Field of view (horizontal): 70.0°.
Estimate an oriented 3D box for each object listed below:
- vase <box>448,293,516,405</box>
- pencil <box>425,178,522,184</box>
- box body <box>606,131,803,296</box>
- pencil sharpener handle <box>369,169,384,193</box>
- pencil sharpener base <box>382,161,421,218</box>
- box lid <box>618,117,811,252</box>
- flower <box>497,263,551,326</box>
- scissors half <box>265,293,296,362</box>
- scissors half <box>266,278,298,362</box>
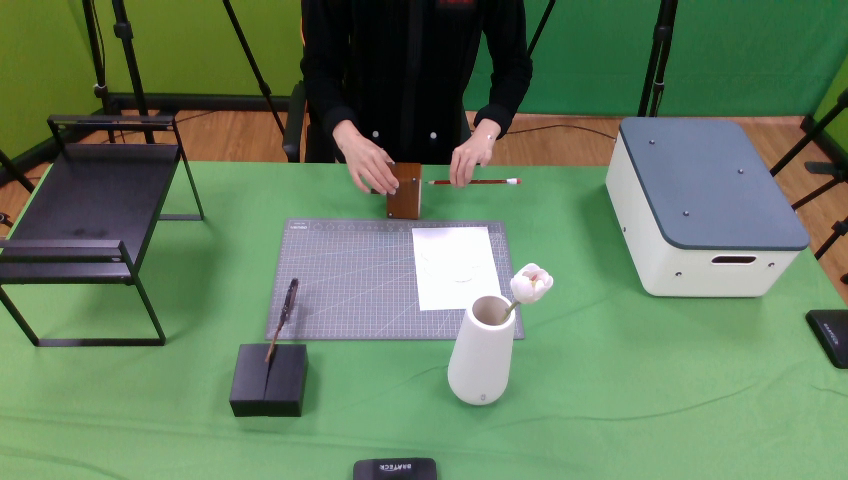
[{"bbox_3d":[0.091,0.169,0.921,0.098,0.201,0.097,3,47,-3],"label":"vase"},{"bbox_3d":[0.099,-0.118,1.212,0.194,0.012,0.012,-1,47,-2],"label":"pencil"},{"bbox_3d":[0.530,-0.067,1.204,0.254,0.161,0.361,0,46,-4],"label":"box body"},{"bbox_3d":[-0.096,-0.116,1.223,0.030,0.068,0.036,3,61,0],"label":"pencil sharpener handle"},{"bbox_3d":[-0.046,-0.101,1.230,0.077,0.107,0.061,3,45,0],"label":"pencil sharpener base"},{"bbox_3d":[0.534,-0.117,1.148,0.263,0.015,0.369,0,47,-3],"label":"box lid"},{"bbox_3d":[0.102,0.120,0.853,0.044,0.363,0.038,-1,64,-10],"label":"flower"},{"bbox_3d":[-0.239,0.143,1.004,0.013,0.040,0.174,17,28,-6],"label":"scissors half"},{"bbox_3d":[-0.234,0.127,0.993,0.013,0.040,0.174,12,46,-3],"label":"scissors half"}]
